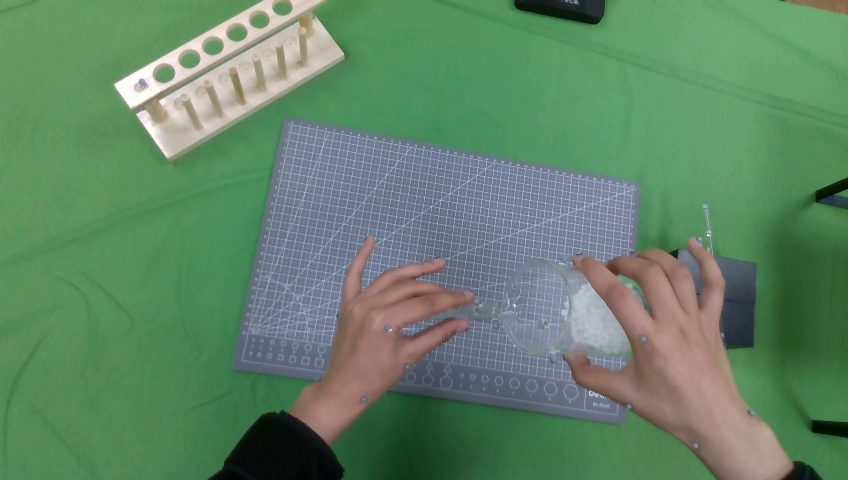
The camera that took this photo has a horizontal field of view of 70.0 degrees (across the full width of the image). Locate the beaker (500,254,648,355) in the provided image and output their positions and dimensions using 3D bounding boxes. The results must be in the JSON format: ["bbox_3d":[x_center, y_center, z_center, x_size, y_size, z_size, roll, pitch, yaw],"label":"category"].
[{"bbox_3d":[0.122,0.056,0.489,0.101,0.083,0.073,10,73,-33],"label":"beaker"}]

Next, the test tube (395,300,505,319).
[{"bbox_3d":[0.018,0.063,0.554,0.017,0.149,0.017,4,82,-36],"label":"test tube"}]

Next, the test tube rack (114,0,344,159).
[{"bbox_3d":[-0.210,-0.195,0.688,0.242,0.085,0.066,-35,84,-14],"label":"test tube rack"}]

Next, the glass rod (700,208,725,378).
[{"bbox_3d":[0.335,0.059,0.702,0.008,0.008,0.199,0,78,-8],"label":"glass rod"}]
